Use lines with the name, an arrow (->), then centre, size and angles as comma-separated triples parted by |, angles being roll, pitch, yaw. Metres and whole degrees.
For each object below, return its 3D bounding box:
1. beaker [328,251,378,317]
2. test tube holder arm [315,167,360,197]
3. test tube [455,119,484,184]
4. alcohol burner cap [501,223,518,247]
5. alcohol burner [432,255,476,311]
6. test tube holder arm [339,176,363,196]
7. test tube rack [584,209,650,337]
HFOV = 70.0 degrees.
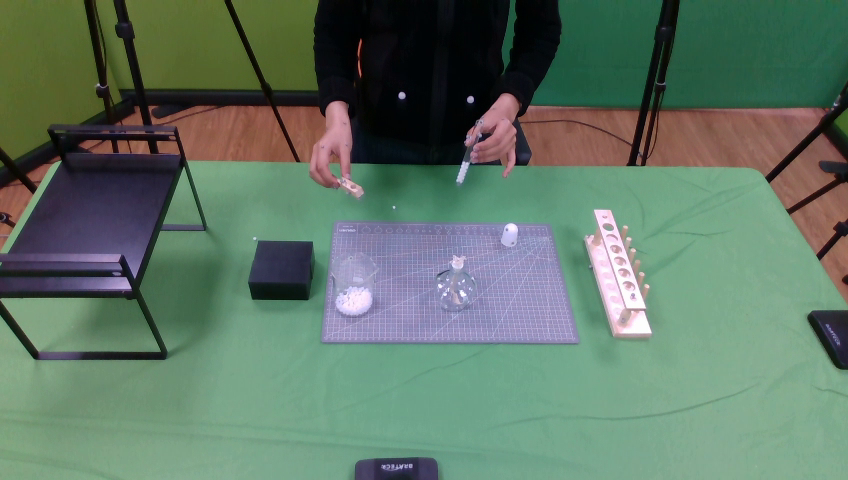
beaker -> -0.123, 0.079, 1.055 | 0.084, 0.101, 0.073 | 0, 47, -5
test tube holder arm -> -0.164, -0.109, 1.125 | 0.013, 0.015, 0.177 | -30, 33, -24
test tube -> 0.082, -0.159, 1.110 | 0.017, 0.151, 0.017 | 9, 48, -9
alcohol burner cap -> 0.172, -0.013, 1.206 | 0.034, 0.048, 0.033 | 1, 45, -1
alcohol burner -> 0.055, 0.070, 1.068 | 0.078, 0.119, 0.077 | 3, 45, -3
test tube holder arm -> -0.134, -0.098, 1.092 | 0.010, 0.015, 0.087 | -29, 33, -23
test tube rack -> 0.365, 0.056, 1.129 | 0.067, 0.085, 0.240 | 1, 46, -3
